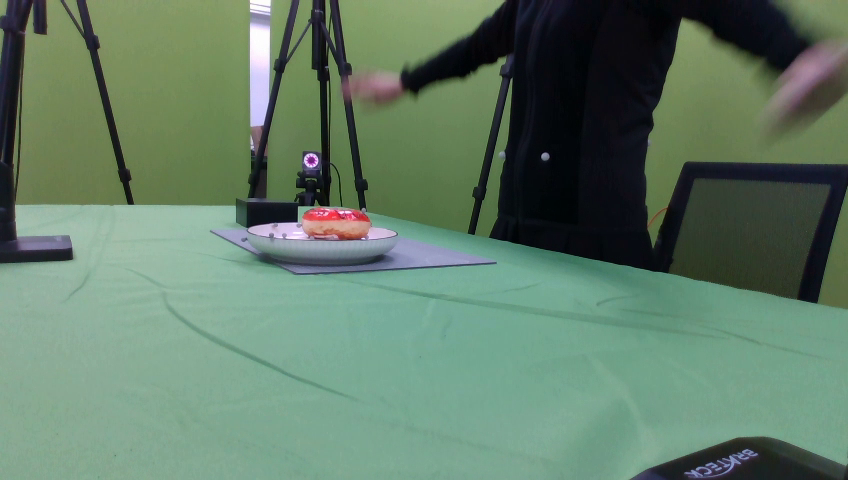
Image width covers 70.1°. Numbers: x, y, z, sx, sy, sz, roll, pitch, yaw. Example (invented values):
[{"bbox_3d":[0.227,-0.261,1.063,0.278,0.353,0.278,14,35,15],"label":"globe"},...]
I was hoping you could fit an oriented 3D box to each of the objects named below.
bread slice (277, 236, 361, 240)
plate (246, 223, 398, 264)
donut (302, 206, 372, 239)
[{"bbox_3d":[-0.140,0.007,0.839,0.132,0.019,0.104,-2,7,-35],"label":"bread slice"},{"bbox_3d":[-0.140,0.004,0.847,0.209,0.038,0.209,2,7,0],"label":"plate"},{"bbox_3d":[-0.123,-0.023,0.853,0.099,0.048,0.099,3,3,0],"label":"donut"}]
